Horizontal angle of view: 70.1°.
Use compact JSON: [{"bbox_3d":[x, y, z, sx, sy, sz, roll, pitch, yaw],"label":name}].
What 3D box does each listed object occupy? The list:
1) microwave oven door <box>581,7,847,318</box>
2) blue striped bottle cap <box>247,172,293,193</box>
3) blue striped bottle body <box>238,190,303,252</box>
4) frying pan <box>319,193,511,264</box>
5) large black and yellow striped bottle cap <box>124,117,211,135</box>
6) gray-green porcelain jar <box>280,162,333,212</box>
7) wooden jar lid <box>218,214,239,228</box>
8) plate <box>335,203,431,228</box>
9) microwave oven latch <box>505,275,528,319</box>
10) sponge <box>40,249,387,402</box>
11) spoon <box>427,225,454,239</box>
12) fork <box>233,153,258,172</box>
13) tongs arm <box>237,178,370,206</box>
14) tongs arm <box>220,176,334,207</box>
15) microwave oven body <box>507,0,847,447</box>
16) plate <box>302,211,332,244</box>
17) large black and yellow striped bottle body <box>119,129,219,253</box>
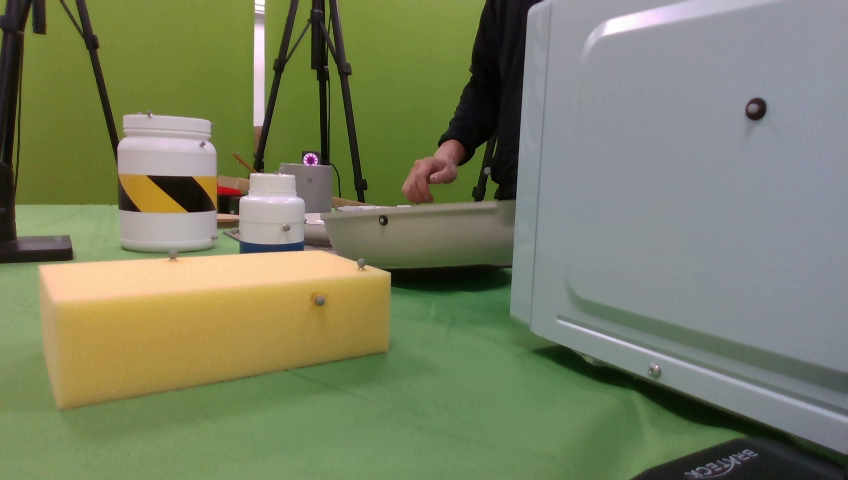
[{"bbox_3d":[0.295,-0.067,0.569,0.358,0.243,0.039,-3,8,-31],"label":"microwave oven door"},{"bbox_3d":[-0.152,-0.057,0.598,0.044,0.020,0.044,3,6,0],"label":"blue striped bottle cap"},{"bbox_3d":[-0.153,-0.007,0.606,0.063,0.120,0.063,2,7,0],"label":"blue striped bottle body"},{"bbox_3d":[0.107,-0.037,0.801,0.490,0.102,0.305,-14,7,-29],"label":"frying pan"},{"bbox_3d":[-0.366,-0.163,0.866,0.115,0.019,0.115,3,7,0],"label":"large black and yellow striped bottle cap"},{"bbox_3d":[-0.238,-0.092,1.221,0.106,0.126,0.106,2,7,0],"label":"gray-green porcelain jar"},{"bbox_3d":[-0.404,-0.037,1.169,0.108,0.020,0.108,3,7,0],"label":"wooden jar lid"},{"bbox_3d":[-0.089,-0.053,1.309,0.208,0.039,0.207,2,8,0],"label":"plate"},{"bbox_3d":[0.100,0.042,0.471,0.079,0.029,0.030,-1,7,-29],"label":"microwave oven latch"},{"bbox_3d":[-0.142,0.047,0.420,0.208,0.061,0.117,-3,8,-36],"label":"sponge"},{"bbox_3d":[0.024,-0.019,1.124,0.042,0.021,0.193,-12,8,-5],"label":"spoon"},{"bbox_3d":[-0.396,-0.143,1.486,0.028,0.018,0.208,20,-26,45],"label":"fork"},{"bbox_3d":[-0.242,-0.095,1.374,0.387,0.026,0.050,9,0,-37],"label":"tongs arm"},{"bbox_3d":[-0.285,-0.104,1.445,0.389,0.027,0.028,9,-4,-23],"label":"tongs arm"},{"bbox_3d":[0.331,-0.042,0.425,0.444,0.260,0.324,-2,8,-31],"label":"microwave oven body"},{"bbox_3d":[-0.139,-0.022,1.021,0.209,0.038,0.209,2,8,0],"label":"plate"},{"bbox_3d":[-0.367,-0.080,0.876,0.131,0.184,0.130,2,7,0],"label":"large black and yellow striped bottle body"}]
